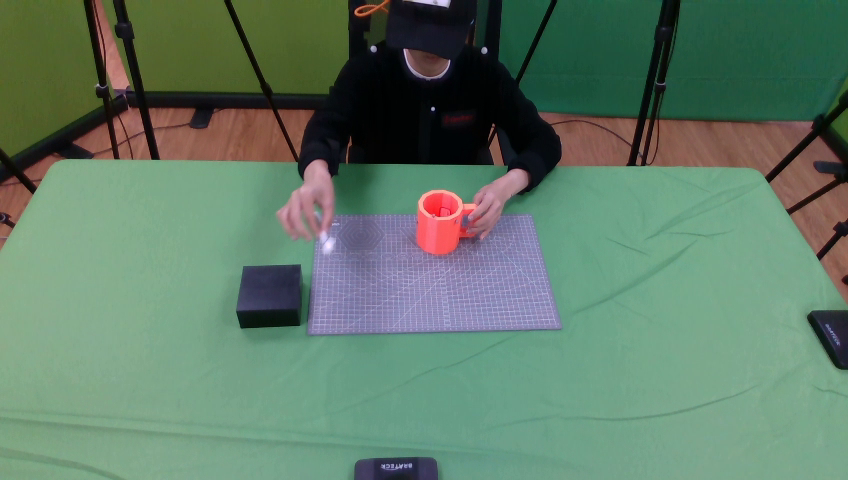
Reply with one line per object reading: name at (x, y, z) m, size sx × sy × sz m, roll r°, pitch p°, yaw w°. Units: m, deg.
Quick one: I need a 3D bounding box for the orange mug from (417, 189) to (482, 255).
orange mug at (0.049, -0.037, 1.176) m, size 0.126 × 0.101 × 0.083 m, roll -6°, pitch 46°, yaw -4°

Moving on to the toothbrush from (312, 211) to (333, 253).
toothbrush at (-0.169, -0.019, 1.001) m, size 0.014 × 0.017 × 0.181 m, roll 10°, pitch 17°, yaw -20°
